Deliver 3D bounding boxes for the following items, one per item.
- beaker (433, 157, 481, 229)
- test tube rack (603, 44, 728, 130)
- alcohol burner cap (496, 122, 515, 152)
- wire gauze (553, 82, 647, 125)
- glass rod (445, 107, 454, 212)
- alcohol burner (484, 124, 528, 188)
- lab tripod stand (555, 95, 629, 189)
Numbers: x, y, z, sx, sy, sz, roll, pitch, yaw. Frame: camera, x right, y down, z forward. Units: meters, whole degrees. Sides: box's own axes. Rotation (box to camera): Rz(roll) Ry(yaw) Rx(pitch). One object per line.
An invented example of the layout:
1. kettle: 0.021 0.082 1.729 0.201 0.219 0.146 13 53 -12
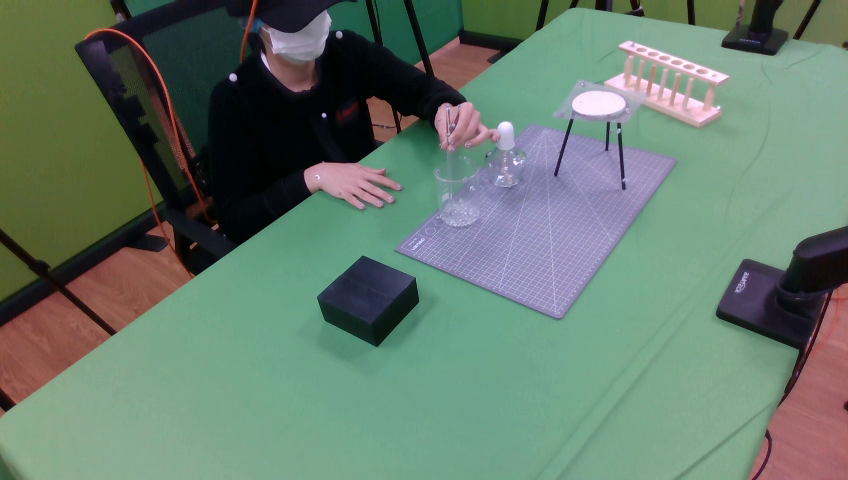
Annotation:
1. beaker: 0.058 -0.077 0.994 0.073 0.101 0.084 19 46 29
2. test tube rack: 0.480 -0.316 1.227 0.067 0.085 0.240 -28 44 -22
3. alcohol burner cap: 0.139 -0.179 1.037 0.034 0.048 0.033 -4 43 4
4. wire gauze: 0.293 -0.225 1.002 0.120 0.011 0.125 17 45 27
5. glass rod: 0.042 -0.123 0.962 0.008 0.200 0.008 -2 42 3
6. alcohol burner: 0.144 -0.152 1.059 0.078 0.119 0.077 -3 41 3
7. lab tripod stand: 0.300 -0.174 1.045 0.148 0.132 0.147 -5 38 5
